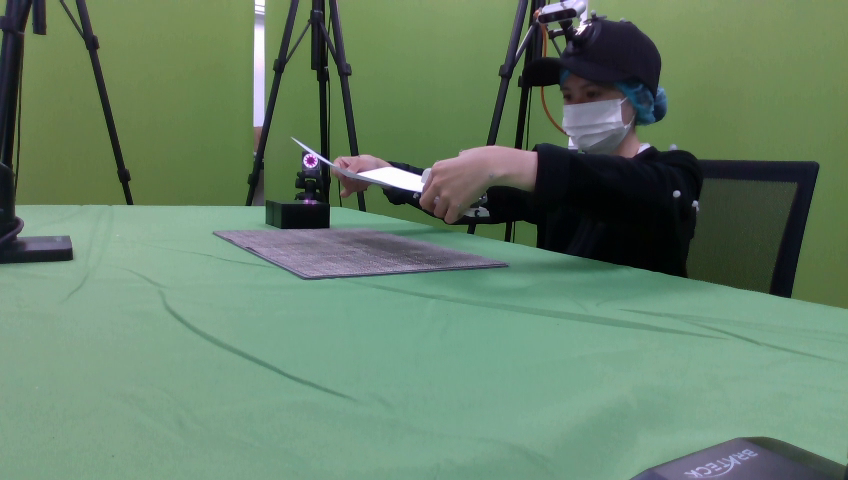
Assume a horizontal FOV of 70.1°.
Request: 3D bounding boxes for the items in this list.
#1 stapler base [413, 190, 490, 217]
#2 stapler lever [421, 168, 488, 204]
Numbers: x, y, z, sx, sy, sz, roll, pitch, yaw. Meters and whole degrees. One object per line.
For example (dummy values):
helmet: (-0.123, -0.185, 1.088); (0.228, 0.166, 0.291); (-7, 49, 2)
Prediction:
stapler base: (0.037, -0.059, 0.859); (0.041, 0.024, 0.130); (-5, 20, -41)
stapler lever: (0.041, -0.077, 0.854); (0.027, 0.040, 0.117); (-5, 14, -41)
